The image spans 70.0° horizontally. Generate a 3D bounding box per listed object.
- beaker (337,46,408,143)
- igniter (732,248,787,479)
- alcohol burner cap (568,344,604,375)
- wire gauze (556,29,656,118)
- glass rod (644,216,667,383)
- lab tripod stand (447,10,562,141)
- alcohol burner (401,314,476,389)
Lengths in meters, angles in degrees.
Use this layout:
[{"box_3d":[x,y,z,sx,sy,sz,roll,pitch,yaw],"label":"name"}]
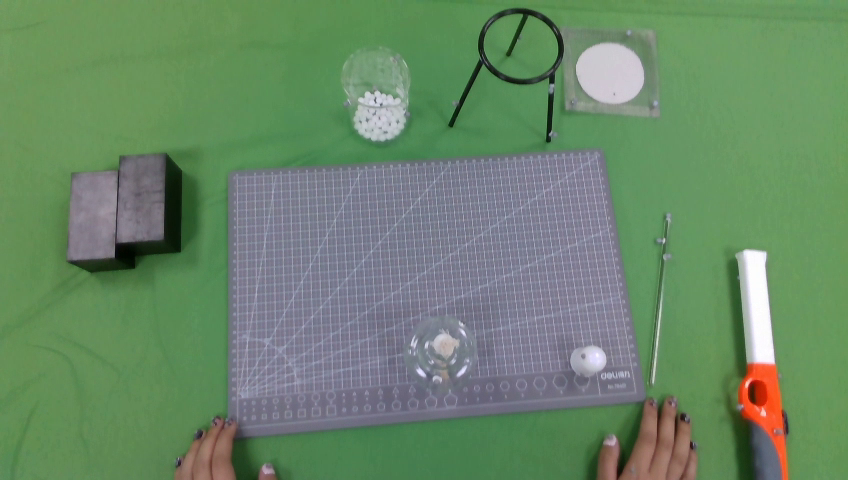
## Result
[{"box_3d":[-0.054,-0.160,0.695,0.084,0.100,0.074,41,77,8],"label":"beaker"},{"box_3d":[0.369,0.144,0.670,0.057,0.025,0.275,7,75,-13],"label":"igniter"},{"box_3d":[0.177,0.128,0.655,0.034,0.048,0.033,0,74,-1],"label":"alcohol burner cap"},{"box_3d":[0.232,-0.215,0.770,0.125,0.011,0.121,3,74,0],"label":"wire gauze"},{"box_3d":[0.267,0.065,0.697,0.008,0.008,0.199,12,75,1],"label":"glass rod"},{"box_3d":[0.096,-0.188,0.691,0.148,0.132,0.147,0,73,-1],"label":"lab tripod stand"},{"box_3d":[0.016,0.110,0.615,0.078,0.119,0.077,1,72,-2],"label":"alcohol burner"}]
